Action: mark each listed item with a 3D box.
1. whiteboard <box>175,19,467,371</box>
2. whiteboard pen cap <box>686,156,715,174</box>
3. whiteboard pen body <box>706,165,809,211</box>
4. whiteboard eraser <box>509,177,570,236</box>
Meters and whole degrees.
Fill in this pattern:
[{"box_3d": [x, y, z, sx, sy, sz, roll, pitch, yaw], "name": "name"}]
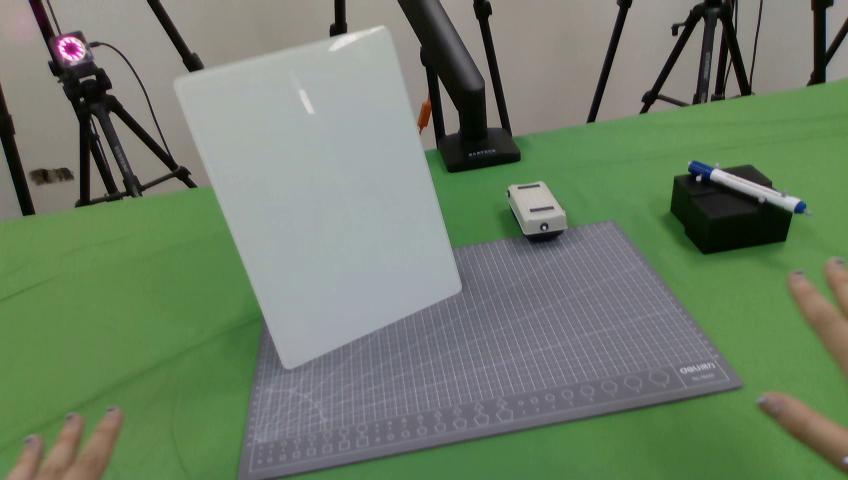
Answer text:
[{"box_3d": [-0.113, -0.054, 0.673, 0.217, 0.307, 0.143, -22, 17, -20], "name": "whiteboard"}, {"box_3d": [0.344, -0.093, 0.752, 0.033, 0.018, 0.018, -12, 29, 28], "name": "whiteboard pen cap"}, {"box_3d": [0.378, -0.066, 0.707, 0.017, 0.017, 0.139, -24, 37, -23], "name": "whiteboard pen body"}, {"box_3d": [0.148, -0.044, 0.790, 0.055, 0.042, 0.111, -10, 30, 0], "name": "whiteboard eraser"}]
